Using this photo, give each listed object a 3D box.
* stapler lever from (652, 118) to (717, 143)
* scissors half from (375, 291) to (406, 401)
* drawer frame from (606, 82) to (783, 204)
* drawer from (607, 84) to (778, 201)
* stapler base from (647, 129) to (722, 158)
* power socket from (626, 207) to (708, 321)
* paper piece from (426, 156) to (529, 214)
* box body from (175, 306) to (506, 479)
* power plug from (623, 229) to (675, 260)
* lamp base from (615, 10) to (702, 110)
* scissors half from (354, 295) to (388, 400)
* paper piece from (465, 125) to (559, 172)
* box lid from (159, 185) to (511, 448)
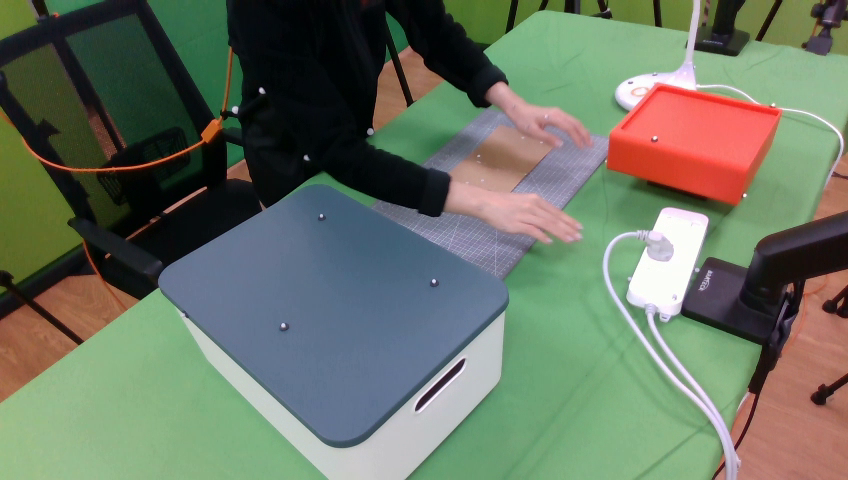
[{"bbox_3d":[0.436,-0.192,1.014,0.118,0.040,0.026,-15,24,-16],"label":"stapler lever"},{"bbox_3d":[-0.048,0.139,0.816,0.040,0.013,0.174,-5,46,9],"label":"scissors half"},{"bbox_3d":[0.441,-0.167,0.995,0.212,0.083,0.202,23,48,30],"label":"drawer frame"},{"bbox_3d":[0.438,-0.167,0.996,0.210,0.073,0.195,23,48,30],"label":"drawer"},{"bbox_3d":[0.439,-0.167,1.023,0.131,0.024,0.041,-17,25,-15],"label":"stapler base"},{"bbox_3d":[0.360,0.026,0.886,0.072,0.033,0.227,16,46,26],"label":"power socket"},{"bbox_3d":[0.097,-0.103,1.089,0.134,0.004,0.136,24,48,31],"label":"paper piece"},{"bbox_3d":[-0.105,0.111,0.751,0.361,0.161,0.255,28,52,34],"label":"box body"},{"bbox_3d":[0.327,0.007,0.878,0.072,0.053,0.035,25,51,33],"label":"power plug"},{"bbox_3d":[0.484,-0.364,1.211,0.180,0.181,0.159,-15,41,-14],"label":"lamp base"},{"bbox_3d":[-0.068,0.142,0.818,0.040,0.013,0.174,-20,44,1],"label":"scissors half"},{"bbox_3d":[0.171,-0.177,1.168,0.137,0.009,0.136,21,45,31],"label":"paper piece"},{"bbox_3d":[-0.114,0.054,0.705,0.368,0.015,0.264,28,51,34],"label":"box lid"}]
